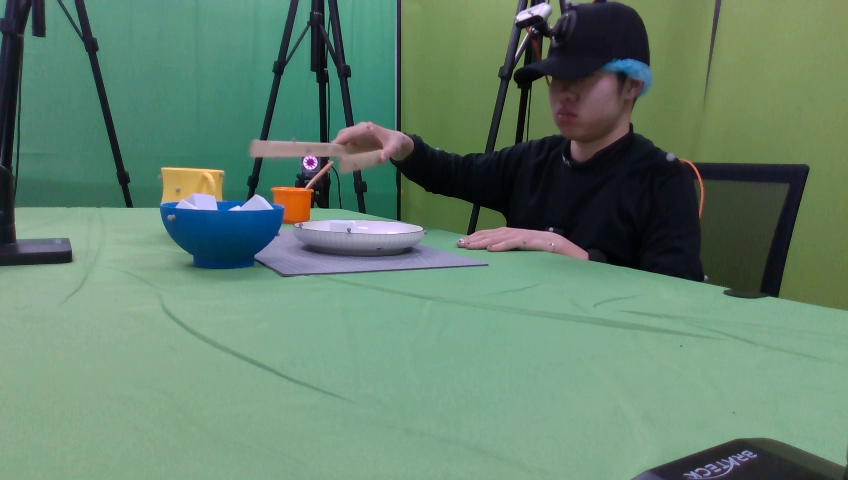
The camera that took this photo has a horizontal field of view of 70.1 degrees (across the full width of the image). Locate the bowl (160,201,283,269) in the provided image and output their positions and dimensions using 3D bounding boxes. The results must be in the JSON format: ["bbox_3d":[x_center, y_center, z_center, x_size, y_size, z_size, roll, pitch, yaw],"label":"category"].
[{"bbox_3d":[-0.259,-0.007,0.783,0.151,0.077,0.151,2,8,0],"label":"bowl"}]

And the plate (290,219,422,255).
[{"bbox_3d":[-0.108,-0.005,0.963,0.208,0.039,0.207,3,7,0],"label":"plate"}]

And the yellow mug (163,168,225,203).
[{"bbox_3d":[-0.383,-0.087,1.026,0.130,0.064,0.100,11,11,44],"label":"yellow mug"}]

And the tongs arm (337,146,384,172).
[{"bbox_3d":[-0.105,-0.142,1.042,0.028,0.028,0.387,4,10,5],"label":"tongs arm"}]

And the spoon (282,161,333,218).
[{"bbox_3d":[-0.262,-0.115,1.359,0.041,0.194,0.022,12,-33,38],"label":"spoon"}]

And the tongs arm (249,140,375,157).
[{"bbox_3d":[-0.177,-0.155,1.055,0.050,0.026,0.385,9,11,15],"label":"tongs arm"}]
